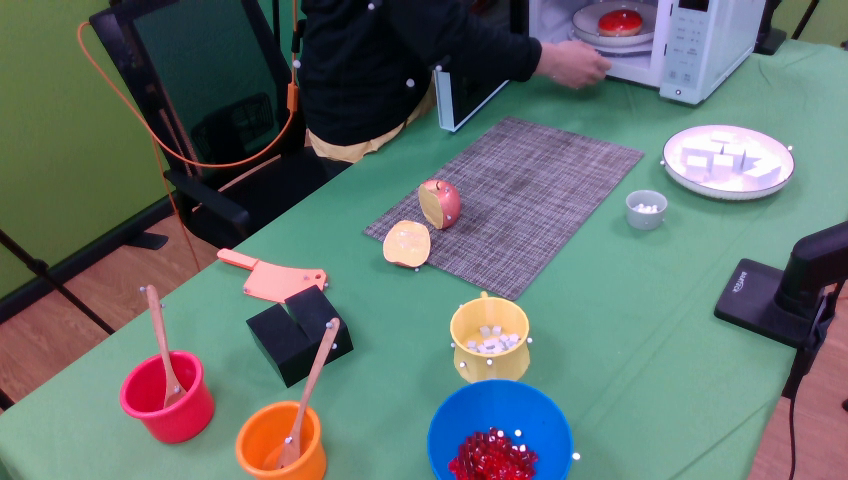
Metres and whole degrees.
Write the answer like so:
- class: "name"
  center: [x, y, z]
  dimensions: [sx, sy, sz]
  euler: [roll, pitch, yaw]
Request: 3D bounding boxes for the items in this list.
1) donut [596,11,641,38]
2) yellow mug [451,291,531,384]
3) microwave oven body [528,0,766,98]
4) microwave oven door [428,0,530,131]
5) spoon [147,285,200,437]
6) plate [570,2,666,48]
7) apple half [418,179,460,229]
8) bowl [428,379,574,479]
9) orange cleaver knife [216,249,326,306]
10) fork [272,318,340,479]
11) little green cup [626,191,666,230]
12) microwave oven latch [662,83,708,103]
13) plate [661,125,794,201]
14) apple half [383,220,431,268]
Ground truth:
- class: "donut"
  center: [0.433, -0.479, 1.347]
  dimensions: [0.099, 0.048, 0.098]
  euler: [-6, 39, 5]
- class: "yellow mug"
  center: [0.085, 0.120, 0.786]
  dimensions: [0.100, 0.064, 0.130]
  euler: [-7, 39, 1]
- class: "microwave oven body"
  center: [0.472, -0.513, 1.317]
  dimensions: [0.438, 0.261, 0.327]
  euler: [25, 51, 34]
- class: "microwave oven door"
  center: [0.126, -0.417, 1.249]
  dimensions: [0.039, 0.245, 0.356]
  euler: [19, 47, 28]
- class: "spoon"
  center: [-0.318, 0.148, 0.754]
  dimensions: [0.042, 0.021, 0.193]
  euler: [-15, 85, -9]
- class: "plate"
  center: [0.437, -0.482, 1.369]
  dimensions: [0.209, 0.038, 0.208]
  euler: [-3, 41, 3]
- class: "apple half"
  center: [0.032, -0.062, 0.998]
  dimensions: [0.053, 0.075, 0.080]
  euler: [-23, 39, -23]
- class: "bowl"
  center: [0.082, 0.233, 0.644]
  dimensions: [0.151, 0.077, 0.150]
  euler: [-4, 39, 4]
- class: "orange cleaver knife"
  center: [-0.248, 0.058, 0.945]
  dimensions: [0.210, 0.012, 0.077]
  euler: [13, 50, 20]
- class: "fork"
  center: [-0.132, 0.186, 0.676]
  dimensions: [0.028, 0.019, 0.207]
  euler: [17, 90, 28]
- class: "little green cup"
  center: [0.352, -0.046, 0.963]
  dimensions: [0.061, 0.039, 0.061]
  euler: [-4, 40, 4]
- class: "microwave oven latch"
  center: [0.518, -0.296, 1.204]
  dimensions: [0.078, 0.029, 0.030]
  euler: [28, 52, 36]
- class: "plate"
  center: [0.514, -0.128, 1.035]
  dimensions: [0.207, 0.039, 0.206]
  euler: [-4, 40, 4]
- class: "apple half"
  center: [-0.022, 0.009, 0.947]
  dimensions: [0.081, 0.033, 0.081]
  euler: [-3, 73, 11]
